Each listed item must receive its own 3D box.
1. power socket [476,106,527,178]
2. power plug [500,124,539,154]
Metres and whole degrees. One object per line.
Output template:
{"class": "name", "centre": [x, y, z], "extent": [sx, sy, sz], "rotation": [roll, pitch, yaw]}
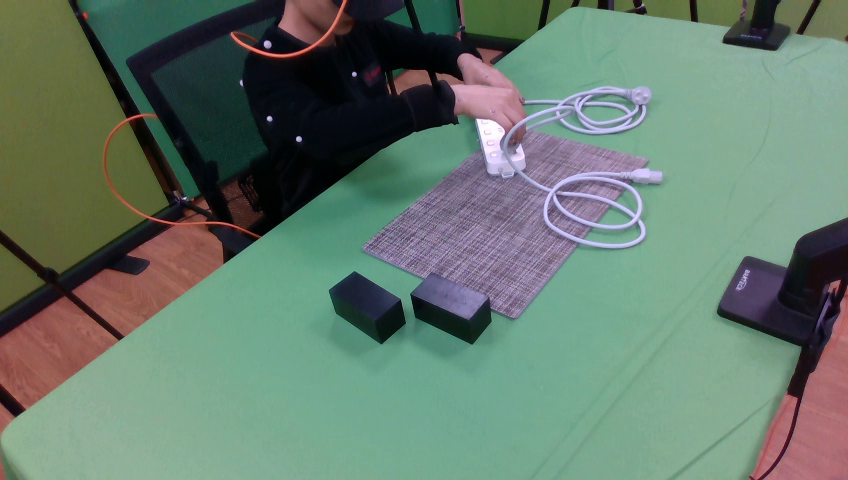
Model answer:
{"class": "power socket", "centre": [0.147, -0.196, 1.173], "extent": [0.072, 0.033, 0.225], "rotation": [-7, 40, 2]}
{"class": "power plug", "centre": [0.173, -0.176, 1.091], "extent": [0.072, 0.053, 0.035], "rotation": [-4, 46, 15]}
